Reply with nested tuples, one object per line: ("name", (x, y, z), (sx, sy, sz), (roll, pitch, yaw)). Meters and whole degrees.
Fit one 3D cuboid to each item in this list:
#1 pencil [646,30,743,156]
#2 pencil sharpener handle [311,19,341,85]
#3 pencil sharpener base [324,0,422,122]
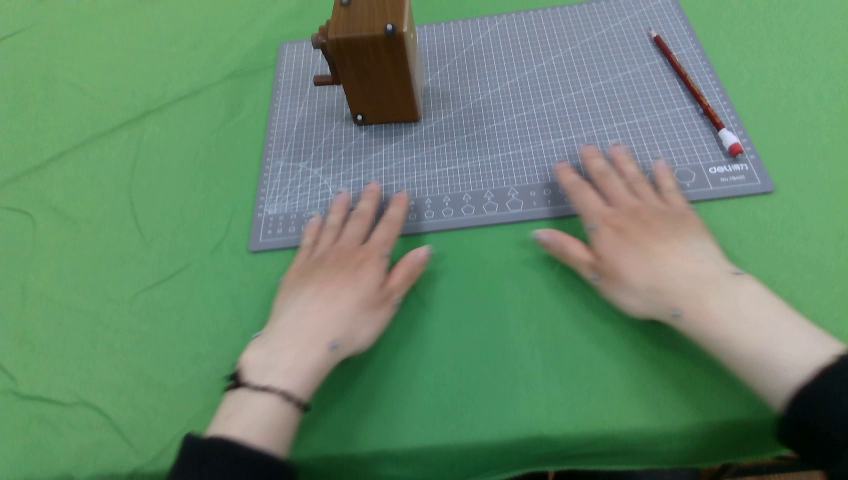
("pencil", (0.253, -0.148, 0.579), (0.012, 0.012, 0.192), (-13, 52, -1))
("pencil sharpener handle", (-0.098, -0.175, 0.573), (0.030, 0.068, 0.035), (-3, 53, 7))
("pencil sharpener base", (-0.046, -0.170, 0.578), (0.076, 0.108, 0.061), (-3, 54, 7))
